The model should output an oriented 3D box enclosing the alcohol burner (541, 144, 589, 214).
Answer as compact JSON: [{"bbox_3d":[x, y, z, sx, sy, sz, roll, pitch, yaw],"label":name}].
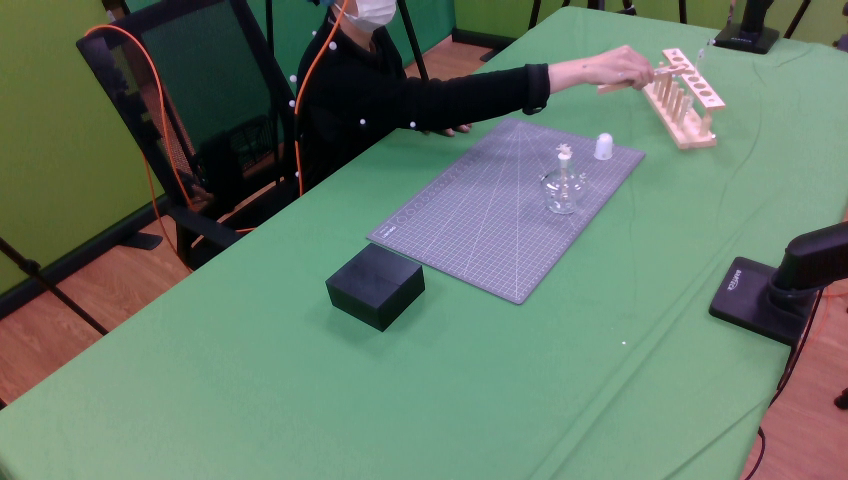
[{"bbox_3d":[0.229,-0.102,0.983,0.078,0.119,0.077,-6,41,5],"label":"alcohol burner"}]

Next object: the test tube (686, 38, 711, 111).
[{"bbox_3d":[0.508,-0.305,1.128,0.017,0.151,0.017,-2,46,3],"label":"test tube"}]

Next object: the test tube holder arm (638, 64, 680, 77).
[{"bbox_3d":[0.424,-0.302,1.093,0.088,0.015,0.010,-18,46,-15],"label":"test tube holder arm"}]

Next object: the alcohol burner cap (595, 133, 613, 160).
[{"bbox_3d":[0.330,-0.172,1.105,0.034,0.048,0.033,-5,40,5],"label":"alcohol burner cap"}]

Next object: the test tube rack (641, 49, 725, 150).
[{"bbox_3d":[0.495,-0.279,1.175,0.067,0.085,0.241,-5,41,3],"label":"test tube rack"}]

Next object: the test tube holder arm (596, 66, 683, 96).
[{"bbox_3d":[0.385,-0.285,1.077,0.179,0.015,0.013,-18,46,-15],"label":"test tube holder arm"}]
